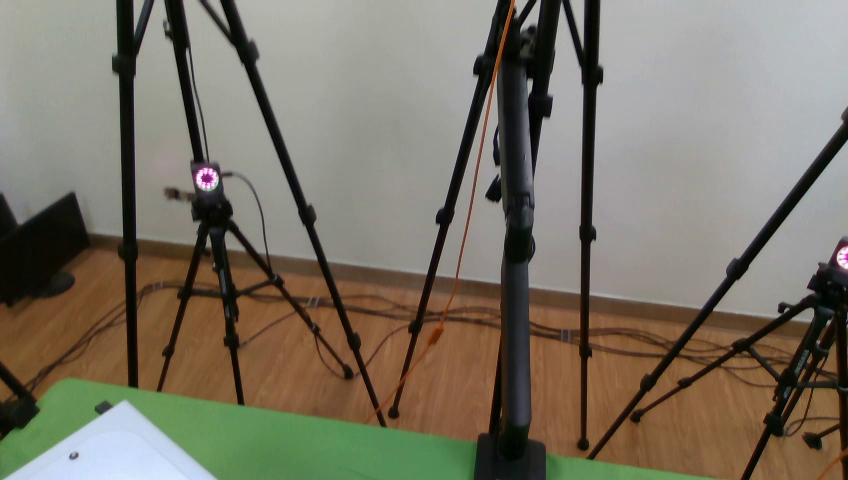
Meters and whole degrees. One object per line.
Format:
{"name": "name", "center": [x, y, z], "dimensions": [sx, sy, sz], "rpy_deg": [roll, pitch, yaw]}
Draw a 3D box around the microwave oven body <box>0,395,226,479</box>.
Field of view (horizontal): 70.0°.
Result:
{"name": "microwave oven body", "center": [-0.424, 0.449, 0.672], "dimensions": [0.323, 0.262, 0.441], "rpy_deg": [25, 41, 28]}
